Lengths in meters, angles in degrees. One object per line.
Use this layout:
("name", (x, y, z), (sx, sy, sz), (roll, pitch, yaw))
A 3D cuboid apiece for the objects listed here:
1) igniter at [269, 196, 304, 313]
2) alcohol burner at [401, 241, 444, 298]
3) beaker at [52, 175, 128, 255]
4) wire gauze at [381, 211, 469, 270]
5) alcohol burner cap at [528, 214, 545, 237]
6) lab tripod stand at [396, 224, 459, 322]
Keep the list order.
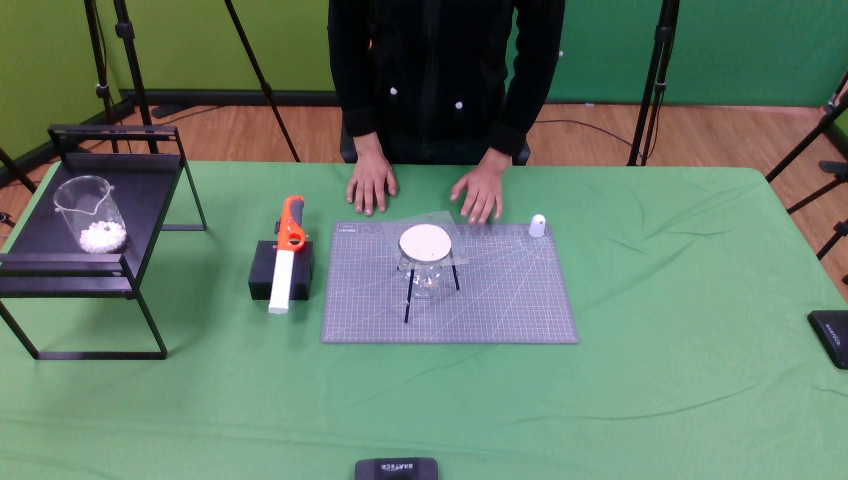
("igniter", (-0.249, 0.016, 1.095), (0.057, 0.025, 0.274), (8, 46, -13))
("alcohol burner", (-0.001, 0.048, 1.084), (0.078, 0.119, 0.077), (2, 44, -2))
("beaker", (-0.482, -0.032, 0.888), (0.074, 0.101, 0.083), (-28, 55, -27))
("wire gauze", (0.000, 0.001, 1.023), (0.125, 0.011, 0.120), (-9, 48, -13))
("alcohol burner cap", (0.231, -0.032, 1.230), (0.034, 0.048, 0.033), (2, 46, -1))
("lab tripod stand", (-0.004, 0.053, 1.066), (0.148, 0.132, 0.147), (3, 48, -3))
